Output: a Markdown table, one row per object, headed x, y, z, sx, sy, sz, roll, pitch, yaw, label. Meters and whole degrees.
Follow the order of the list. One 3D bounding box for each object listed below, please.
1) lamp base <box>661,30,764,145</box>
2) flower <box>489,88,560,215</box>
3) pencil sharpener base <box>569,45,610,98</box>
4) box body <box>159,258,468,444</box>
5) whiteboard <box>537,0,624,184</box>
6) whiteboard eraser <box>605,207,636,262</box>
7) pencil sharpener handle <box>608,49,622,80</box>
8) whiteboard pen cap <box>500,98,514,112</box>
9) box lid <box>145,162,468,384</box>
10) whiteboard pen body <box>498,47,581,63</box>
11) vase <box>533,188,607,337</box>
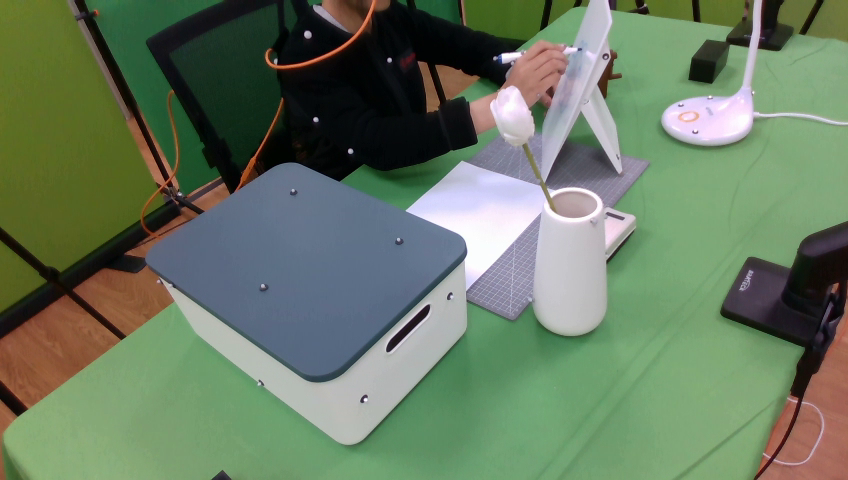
| x | y | z | sx | sy | sz | roll | pitch | yaw | label |
| --- | --- | --- | --- | --- | --- | --- | --- | --- | --- |
| 0.535 | -0.287 | 1.096 | 0.179 | 0.181 | 0.159 | -10 | 40 | -4 | lamp base |
| 0.158 | -0.027 | 0.720 | 0.038 | 0.364 | 0.044 | -14 | 44 | 23 | flower |
| 0.345 | -0.352 | 1.263 | 0.077 | 0.107 | 0.061 | -9 | 40 | 1 | pencil sharpener base |
| -0.147 | 0.072 | 0.816 | 0.361 | 0.161 | 0.255 | 24 | 50 | 33 | box body |
| 0.316 | -0.256 | 1.047 | 0.144 | 0.306 | 0.216 | 15 | 42 | -1 | whiteboard |
| 0.273 | -0.003 | 0.919 | 0.055 | 0.042 | 0.113 | 26 | 51 | 33 | whiteboard eraser |
| 0.394 | -0.368 | 1.253 | 0.030 | 0.068 | 0.036 | -9 | 32 | 1 | pencil sharpener handle |
| 0.176 | -0.288 | 1.289 | 0.018 | 0.018 | 0.033 | 29 | 63 | 36 | whiteboard pen cap |
| -0.157 | 0.014 | 0.769 | 0.368 | 0.015 | 0.264 | 25 | 51 | 33 | box lid |
| 0.195 | -0.316 | 1.025 | 0.141 | 0.017 | 0.017 | -4 | 41 | 5 | whiteboard pen body |
| 0.187 | 0.033 | 0.771 | 0.098 | 0.201 | 0.097 | -6 | 41 | 6 | vase |
